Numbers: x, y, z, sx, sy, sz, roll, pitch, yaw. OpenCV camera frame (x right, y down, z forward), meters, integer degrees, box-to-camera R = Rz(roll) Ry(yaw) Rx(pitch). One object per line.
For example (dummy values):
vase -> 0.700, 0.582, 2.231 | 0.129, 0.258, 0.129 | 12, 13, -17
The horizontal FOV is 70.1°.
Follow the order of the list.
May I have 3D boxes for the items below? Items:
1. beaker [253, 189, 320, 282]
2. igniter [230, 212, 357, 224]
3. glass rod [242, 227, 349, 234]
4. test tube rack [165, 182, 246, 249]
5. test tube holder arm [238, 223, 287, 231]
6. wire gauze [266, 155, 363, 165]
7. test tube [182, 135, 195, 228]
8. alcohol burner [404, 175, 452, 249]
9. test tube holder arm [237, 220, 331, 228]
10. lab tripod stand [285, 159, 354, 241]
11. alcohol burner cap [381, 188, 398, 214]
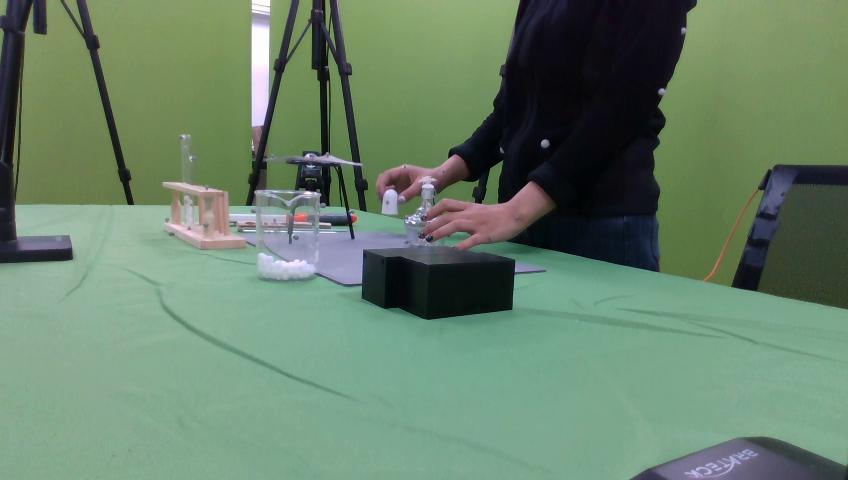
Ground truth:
beaker -> -0.156, -0.005, 0.689 | 0.074, 0.100, 0.083 | 0, 8, -14
igniter -> -0.271, -0.044, 1.232 | 0.278, 0.025, 0.057 | -2, -2, -27
glass rod -> -0.232, -0.016, 1.110 | 0.201, 0.008, 0.008 | 2, 6, -30
test tube rack -> -0.360, -0.045, 0.982 | 0.067, 0.085, 0.241 | -3, 9, -34
test tube holder arm -> -0.297, -0.024, 1.113 | 0.088, 0.015, 0.010 | -2, 45, -33
wire gauze -> -0.185, -0.136, 1.016 | 0.126, 0.011, 0.121 | -4, 11, -33
test tube -> -0.382, -0.095, 0.983 | 0.017, 0.150, 0.017 | -1, 2, 0
alcohol burner -> 0.007, -0.045, 0.970 | 0.078, 0.119, 0.078 | 1, 9, 0
test tube holder arm -> -0.261, -0.029, 1.142 | 0.179, 0.015, 0.013 | -3, 46, -33
lab tripod stand -> -0.187, -0.068, 1.013 | 0.148, 0.131, 0.148 | 4, 9, 0
alcohol burner cap -> -0.063, -0.073, 1.128 | 0.034, 0.048, 0.034 | 2, 10, 0
